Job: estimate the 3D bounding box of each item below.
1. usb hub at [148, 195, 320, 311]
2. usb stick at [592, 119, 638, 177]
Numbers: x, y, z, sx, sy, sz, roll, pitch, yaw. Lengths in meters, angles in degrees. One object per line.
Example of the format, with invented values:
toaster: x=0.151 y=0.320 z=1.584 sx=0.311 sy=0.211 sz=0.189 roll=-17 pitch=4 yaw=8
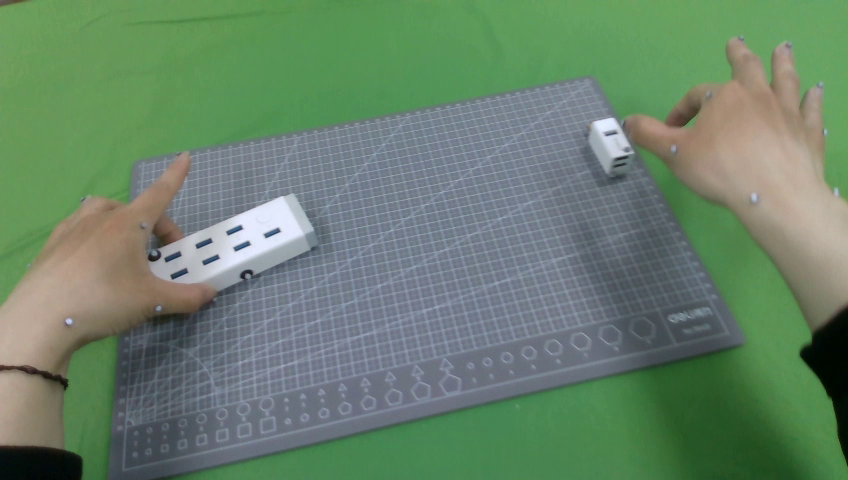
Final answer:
usb hub: x=-0.151 y=0.008 z=0.487 sx=0.125 sy=0.025 sz=0.049 roll=-24 pitch=60 yaw=-14
usb stick: x=0.164 y=-0.085 z=0.531 sx=0.021 sy=0.027 sz=0.058 roll=-14 pitch=53 yaw=-3
